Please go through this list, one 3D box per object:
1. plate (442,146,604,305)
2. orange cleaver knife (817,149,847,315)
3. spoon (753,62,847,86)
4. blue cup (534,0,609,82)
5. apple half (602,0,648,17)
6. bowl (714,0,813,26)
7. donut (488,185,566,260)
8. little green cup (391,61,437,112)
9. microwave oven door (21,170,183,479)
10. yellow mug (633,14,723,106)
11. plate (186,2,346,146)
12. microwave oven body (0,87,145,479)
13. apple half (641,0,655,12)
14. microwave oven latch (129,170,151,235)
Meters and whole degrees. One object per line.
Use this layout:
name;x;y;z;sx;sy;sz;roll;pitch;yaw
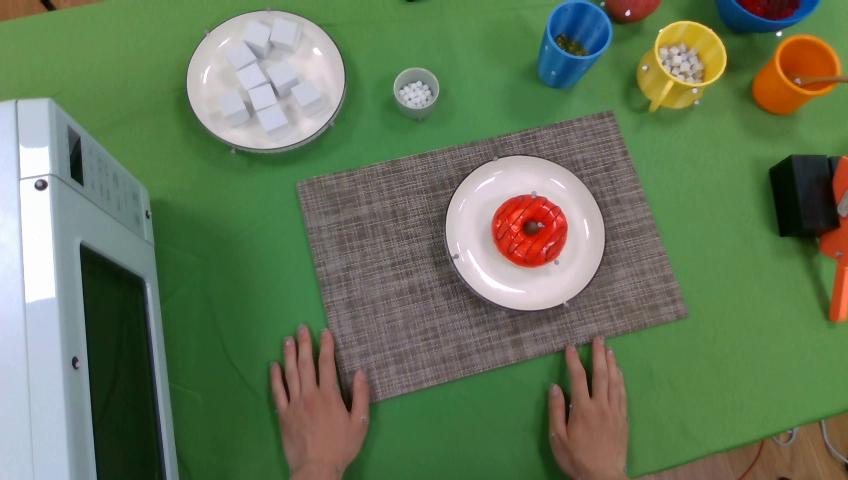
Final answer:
plate;0.125;-0.018;0.779;0.209;0.038;0.208;1;76;-3
orange cleaver knife;0.535;-0.009;0.783;0.012;0.077;0.212;1;105;-1
spoon;0.539;-0.220;0.803;0.022;0.192;0.041;44;73;-37
blue cup;0.190;-0.264;0.817;0.093;0.100;0.092;1;76;-4
apple half;0.280;-0.360;0.862;0.053;0.075;0.080;-9;79;-2
bowl;0.474;-0.365;0.872;0.151;0.077;0.150;1;76;-3
donut;0.130;-0.022;0.769;0.099;0.048;0.098;0;76;-2
little green cup;-0.014;-0.206;0.823;0.061;0.039;0.061;1;75;-3
microwave oven door;-0.305;0.138;0.593;0.039;0.245;0.354;-11;76;-6
yellow mug;0.343;-0.239;0.838;0.100;0.064;0.130;33;77;4
plate;-0.208;-0.219;0.814;0.208;0.039;0.206;1;75;-3
microwave oven body;-0.457;0.126;0.592;0.326;0.261;0.439;-11;77;-7
apple half;0.319;-0.366;0.864;0.033;0.081;0.081;-8;76;-3
microwave oven latch;-0.354;-0.044;0.741;0.030;0.029;0.078;-9;77;-6
